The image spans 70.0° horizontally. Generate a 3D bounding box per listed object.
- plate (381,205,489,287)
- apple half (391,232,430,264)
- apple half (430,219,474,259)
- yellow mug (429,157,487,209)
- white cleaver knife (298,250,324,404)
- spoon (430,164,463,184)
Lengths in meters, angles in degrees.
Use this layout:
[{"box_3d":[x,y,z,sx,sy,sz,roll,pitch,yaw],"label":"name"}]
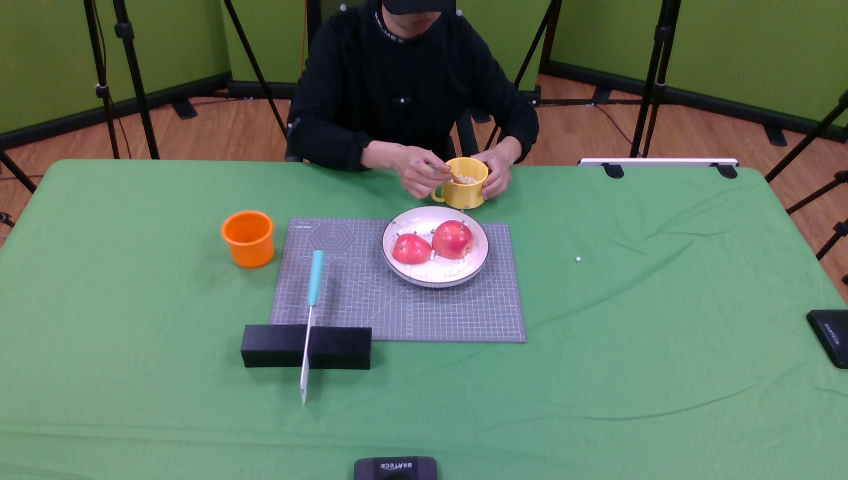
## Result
[{"box_3d":[0.021,0.015,1.170,0.209,0.038,0.208,2,46,-2],"label":"plate"},{"box_3d":[-0.024,0.009,1.163,0.081,0.033,0.081,2,44,-2],"label":"apple half"},{"box_3d":[0.056,-0.007,1.172,0.081,0.053,0.074,-33,59,-31],"label":"apple half"},{"box_3d":[0.070,-0.117,1.281,0.131,0.064,0.099,-21,46,-19],"label":"yellow mug"},{"box_3d":[-0.194,0.134,1.019,0.021,0.066,0.284,4,50,-5],"label":"white cleaver knife"},{"box_3d":[0.052,-0.129,1.222,0.041,0.194,0.021,18,87,25],"label":"spoon"}]
